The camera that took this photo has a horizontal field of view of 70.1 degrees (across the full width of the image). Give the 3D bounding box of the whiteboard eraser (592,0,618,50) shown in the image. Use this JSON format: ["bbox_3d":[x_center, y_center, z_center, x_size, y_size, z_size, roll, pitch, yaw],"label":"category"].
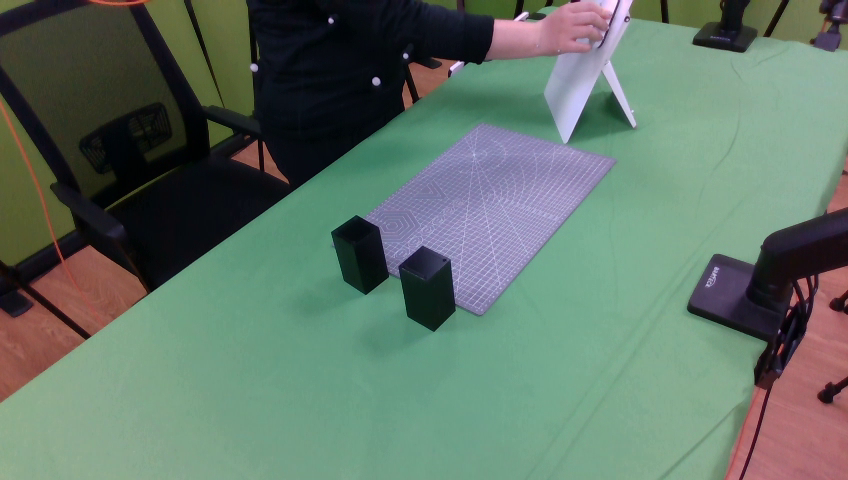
[{"bbox_3d":[0.316,-0.384,1.058,0.019,0.101,0.041,-2,37,-10],"label":"whiteboard eraser"}]

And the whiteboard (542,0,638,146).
[{"bbox_3d":[0.365,-0.351,1.160,0.144,0.306,0.216,8,39,-10],"label":"whiteboard"}]
